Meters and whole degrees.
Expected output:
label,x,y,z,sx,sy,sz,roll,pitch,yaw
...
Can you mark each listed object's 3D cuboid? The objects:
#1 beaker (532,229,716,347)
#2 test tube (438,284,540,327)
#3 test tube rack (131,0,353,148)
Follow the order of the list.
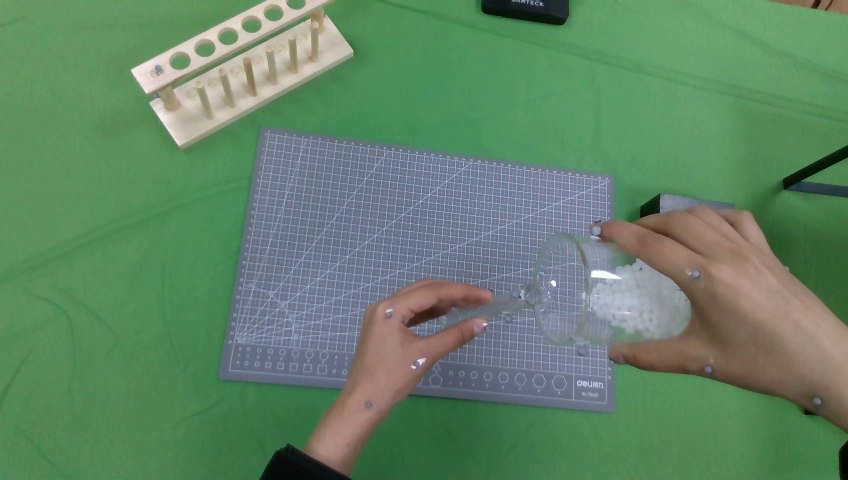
label,x,y,z,sx,sy,sz,roll,pitch,yaw
beaker,0.131,0.035,0.406,0.101,0.084,0.073,5,78,-15
test tube,0.048,0.056,0.495,0.017,0.150,0.017,6,74,-22
test tube rack,-0.200,-0.209,0.707,0.242,0.085,0.066,-34,82,-16
